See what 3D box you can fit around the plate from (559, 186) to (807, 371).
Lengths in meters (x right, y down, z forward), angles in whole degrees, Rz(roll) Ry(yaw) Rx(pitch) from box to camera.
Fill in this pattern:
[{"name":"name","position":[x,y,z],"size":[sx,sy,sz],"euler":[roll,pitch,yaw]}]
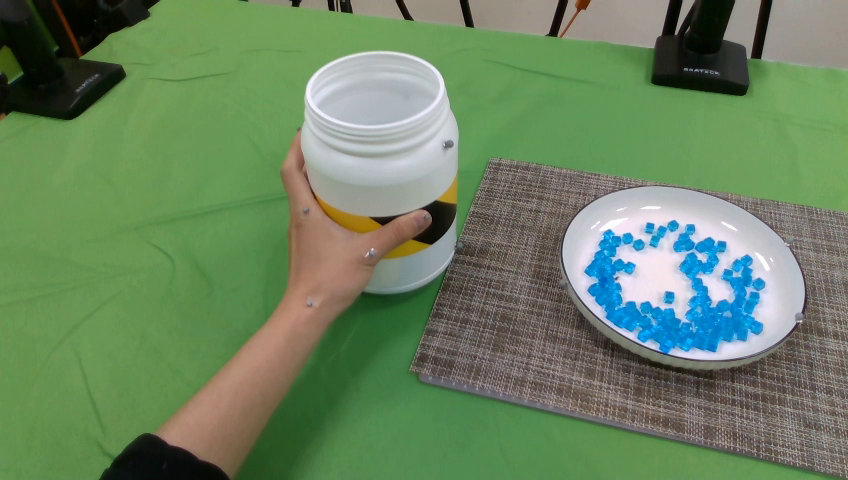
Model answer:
[{"name":"plate","position":[0.225,0.032,0.546],"size":[0.207,0.039,0.205],"euler":[-1,46,1]}]

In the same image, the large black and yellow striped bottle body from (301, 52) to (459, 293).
[{"name":"large black and yellow striped bottle body","position":[-0.035,-0.056,0.533],"size":[0.131,0.185,0.129],"euler":[0,47,1]}]
